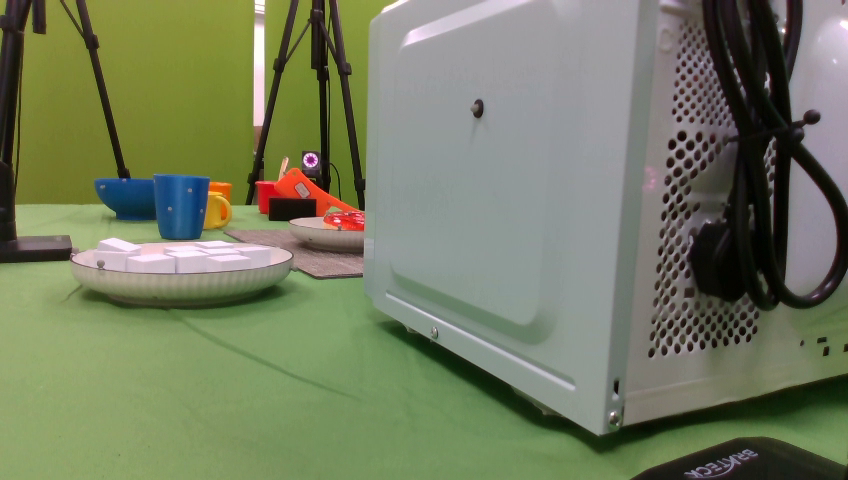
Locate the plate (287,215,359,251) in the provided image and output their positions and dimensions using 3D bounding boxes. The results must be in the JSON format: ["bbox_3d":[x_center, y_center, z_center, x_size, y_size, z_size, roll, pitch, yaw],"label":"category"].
[{"bbox_3d":[-0.111,-0.012,0.960,0.209,0.038,0.209,3,8,0],"label":"plate"}]

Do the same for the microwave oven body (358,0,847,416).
[{"bbox_3d":[0.211,-0.047,0.474,0.444,0.260,0.324,-1,7,-28],"label":"microwave oven body"}]

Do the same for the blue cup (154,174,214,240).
[{"bbox_3d":[-0.391,-0.053,0.978,0.093,0.100,0.092,3,6,0],"label":"blue cup"}]

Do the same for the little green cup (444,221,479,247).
[{"bbox_3d":[0.065,-0.011,1.035,0.061,0.038,0.061,1,9,0],"label":"little green cup"}]

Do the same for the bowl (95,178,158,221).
[{"bbox_3d":[-0.576,-0.081,1.217,0.151,0.077,0.151,3,8,0],"label":"bowl"}]

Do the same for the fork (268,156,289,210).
[{"bbox_3d":[-0.360,-0.144,1.508,0.028,0.018,0.207,1,49,0],"label":"fork"}]

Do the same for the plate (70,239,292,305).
[{"bbox_3d":[-0.242,0.031,0.618,0.208,0.039,0.207,2,8,0],"label":"plate"}]

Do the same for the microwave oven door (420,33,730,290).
[{"bbox_3d":[0.172,-0.075,0.640,0.357,0.243,0.039,-1,8,-21],"label":"microwave oven door"}]

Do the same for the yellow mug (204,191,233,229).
[{"bbox_3d":[-0.415,-0.057,1.132,0.130,0.064,0.100,6,8,16],"label":"yellow mug"}]

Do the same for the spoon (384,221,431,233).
[{"bbox_3d":[-0.024,-0.029,1.188,0.041,0.021,0.194,-11,0,23],"label":"spoon"}]

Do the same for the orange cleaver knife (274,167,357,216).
[{"bbox_3d":[-0.238,-0.090,1.381,0.212,0.077,0.012,31,0,-19],"label":"orange cleaver knife"}]

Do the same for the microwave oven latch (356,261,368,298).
[{"bbox_3d":[-0.019,0.033,0.530,0.079,0.029,0.030,0,7,-26],"label":"microwave oven latch"}]

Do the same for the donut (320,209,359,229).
[{"bbox_3d":[-0.115,-0.023,0.961,0.099,0.048,0.099,5,8,0],"label":"donut"}]
